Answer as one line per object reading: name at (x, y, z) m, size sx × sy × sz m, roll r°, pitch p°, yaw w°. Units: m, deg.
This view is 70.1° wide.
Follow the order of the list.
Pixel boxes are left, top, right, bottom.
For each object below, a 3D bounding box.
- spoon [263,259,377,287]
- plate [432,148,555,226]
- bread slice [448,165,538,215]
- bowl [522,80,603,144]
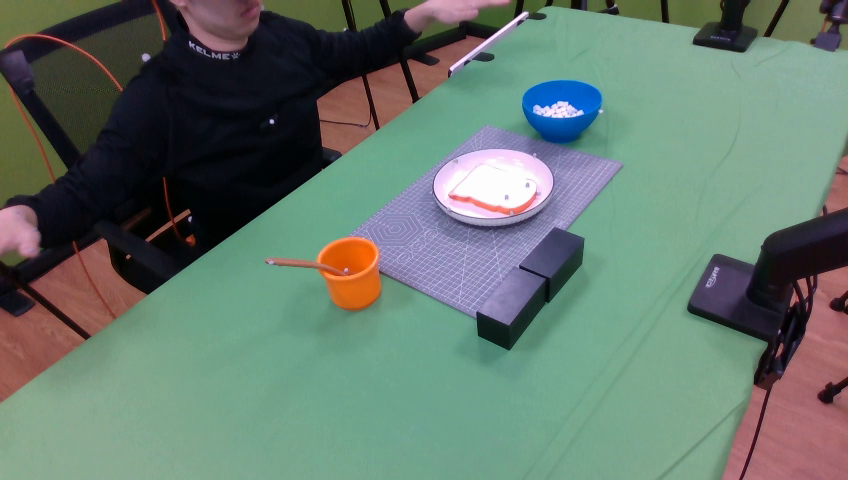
spoon at (-0.140, 0.042, 0.843) m, size 0.041 × 0.195 × 0.021 m, roll 35°, pitch 100°, yaw 41°
plate at (0.119, -0.087, 1.037) m, size 0.209 × 0.038 × 0.208 m, roll -4°, pitch 40°, yaw 4°
bread slice at (0.126, -0.085, 1.037) m, size 0.133 × 0.018 × 0.107 m, roll 17°, pitch 45°, yaw 27°
bowl at (0.264, -0.239, 1.166) m, size 0.151 × 0.077 × 0.150 m, roll -4°, pitch 41°, yaw 4°
